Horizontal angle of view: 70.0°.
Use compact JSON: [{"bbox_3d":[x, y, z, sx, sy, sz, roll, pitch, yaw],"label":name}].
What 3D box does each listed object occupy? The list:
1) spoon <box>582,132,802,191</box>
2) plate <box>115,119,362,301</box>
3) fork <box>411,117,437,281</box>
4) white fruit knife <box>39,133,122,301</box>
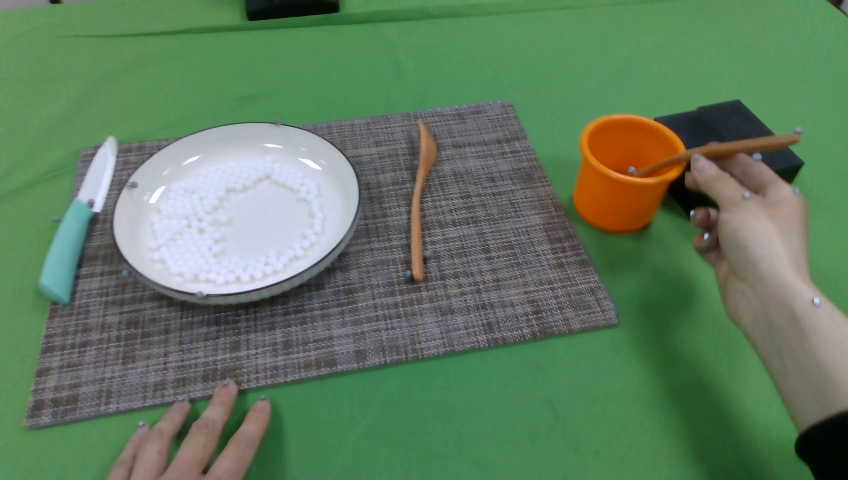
[{"bbox_3d":[0.216,-0.067,0.516,0.041,0.193,0.022,-41,105,-31],"label":"spoon"},{"bbox_3d":[-0.158,-0.028,0.537,0.209,0.038,0.207,1,50,-1],"label":"plate"},{"bbox_3d":[-0.002,-0.046,0.570,0.018,0.028,0.205,-16,48,25],"label":"fork"},{"bbox_3d":[-0.306,-0.032,0.550,0.027,0.016,0.205,18,43,-24],"label":"white fruit knife"}]
